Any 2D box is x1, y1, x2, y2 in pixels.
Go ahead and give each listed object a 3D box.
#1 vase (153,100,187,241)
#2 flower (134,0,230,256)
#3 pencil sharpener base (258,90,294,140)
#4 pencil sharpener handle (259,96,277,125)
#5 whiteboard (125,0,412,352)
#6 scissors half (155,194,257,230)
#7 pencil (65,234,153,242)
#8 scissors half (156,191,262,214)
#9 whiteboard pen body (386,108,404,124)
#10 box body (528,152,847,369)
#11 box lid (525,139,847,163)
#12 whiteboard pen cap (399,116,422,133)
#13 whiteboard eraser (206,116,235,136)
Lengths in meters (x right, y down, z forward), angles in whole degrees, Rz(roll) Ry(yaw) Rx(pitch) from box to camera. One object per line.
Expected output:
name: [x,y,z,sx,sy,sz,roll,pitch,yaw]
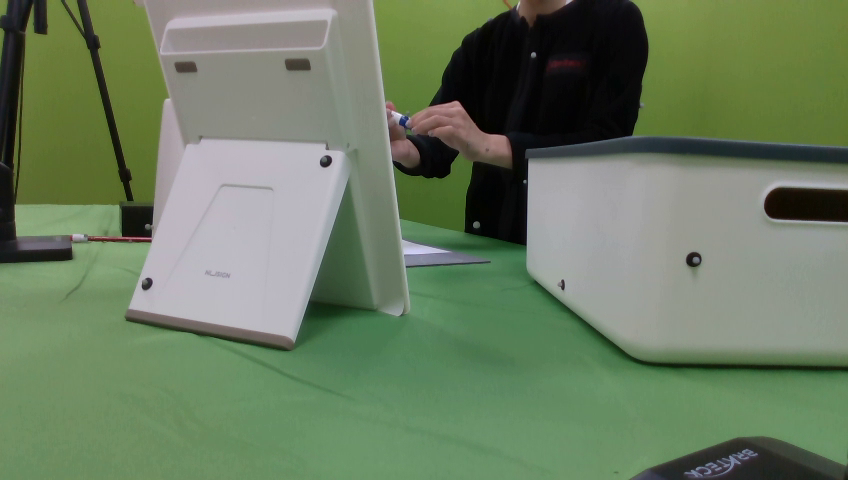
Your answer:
vase: [-0.278,-0.066,0.736,0.098,0.200,0.098,2,9,0]
flower: [-0.282,-0.146,0.713,0.038,0.362,0.044,-23,23,-30]
pencil sharpener base: [-0.341,-0.285,1.388,0.062,0.107,0.076,-3,9,-36]
pencil sharpener handle: [-0.373,-0.304,1.425,0.036,0.067,0.030,13,-1,-37]
whiteboard: [-0.151,-0.049,0.472,0.216,0.305,0.144,6,27,24]
scissors half: [-0.378,-0.051,1.058,0.176,0.040,0.012,20,22,-30]
pencil: [-0.429,-0.001,0.911,0.195,0.012,0.012,1,8,-20]
scissors half: [-0.371,-0.069,1.051,0.176,0.040,0.013,2,25,-24]
whiteboard pen body: [-0.073,-0.197,0.912,0.140,0.017,0.017,24,12,9]
box body: [0.258,-0.005,0.591,0.254,0.160,0.363,2,7,-4]
box lid: [0.261,-0.078,0.580,0.264,0.015,0.371,2,7,-4]
whiteboard pen cap: [-0.020,-0.174,0.904,0.033,0.018,0.018,21,11,10]
whiteboard eraser: [-0.449,-0.251,1.335,0.056,0.042,0.112,1,7,-23]
